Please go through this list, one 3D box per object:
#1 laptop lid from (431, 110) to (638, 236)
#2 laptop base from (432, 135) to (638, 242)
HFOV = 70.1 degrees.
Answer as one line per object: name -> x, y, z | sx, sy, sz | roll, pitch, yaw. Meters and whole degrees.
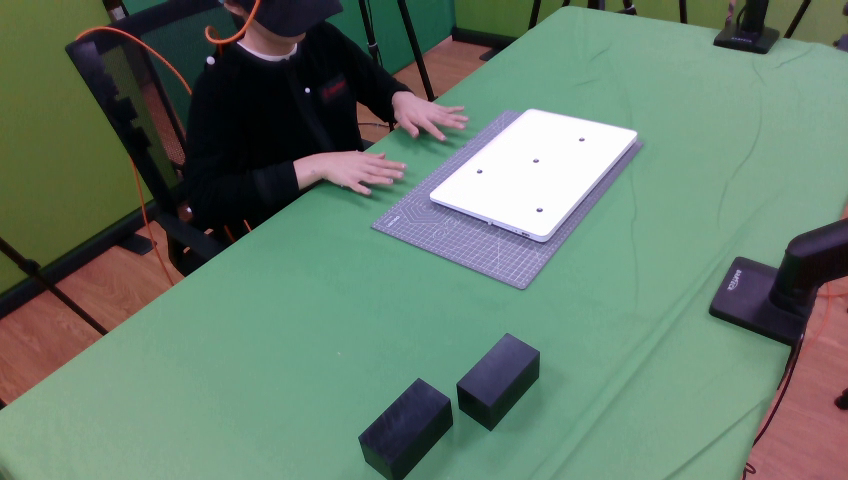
laptop lid -> 0.205, -0.138, 1.092 | 0.239, 0.013, 0.358 | 23, 49, 34
laptop base -> 0.208, -0.129, 1.098 | 0.233, 0.023, 0.355 | 20, 47, 33
